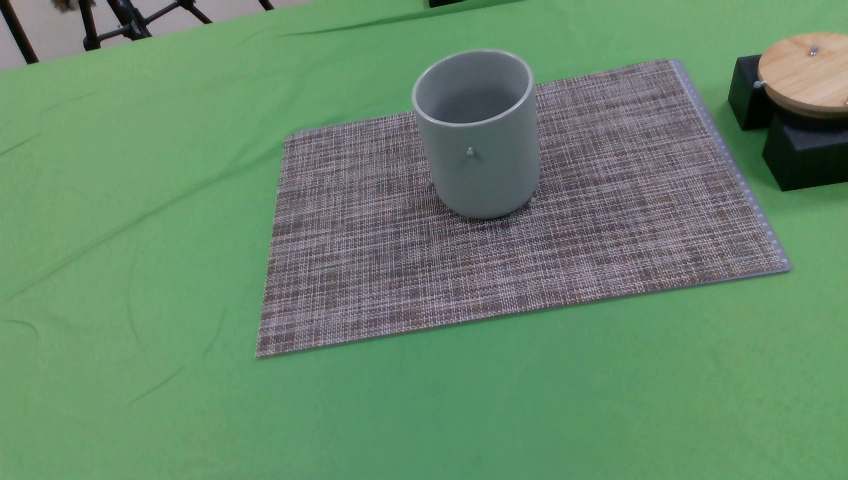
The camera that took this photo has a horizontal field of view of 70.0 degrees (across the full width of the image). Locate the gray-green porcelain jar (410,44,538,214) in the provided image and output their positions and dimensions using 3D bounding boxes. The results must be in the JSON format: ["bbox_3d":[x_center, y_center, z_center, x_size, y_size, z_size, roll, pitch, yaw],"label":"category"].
[{"bbox_3d":[0.051,-0.095,0.558,0.106,0.128,0.105,-7,50,9],"label":"gray-green porcelain jar"}]

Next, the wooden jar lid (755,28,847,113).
[{"bbox_3d":[0.352,-0.150,0.537,0.108,0.021,0.107,-7,51,9],"label":"wooden jar lid"}]
